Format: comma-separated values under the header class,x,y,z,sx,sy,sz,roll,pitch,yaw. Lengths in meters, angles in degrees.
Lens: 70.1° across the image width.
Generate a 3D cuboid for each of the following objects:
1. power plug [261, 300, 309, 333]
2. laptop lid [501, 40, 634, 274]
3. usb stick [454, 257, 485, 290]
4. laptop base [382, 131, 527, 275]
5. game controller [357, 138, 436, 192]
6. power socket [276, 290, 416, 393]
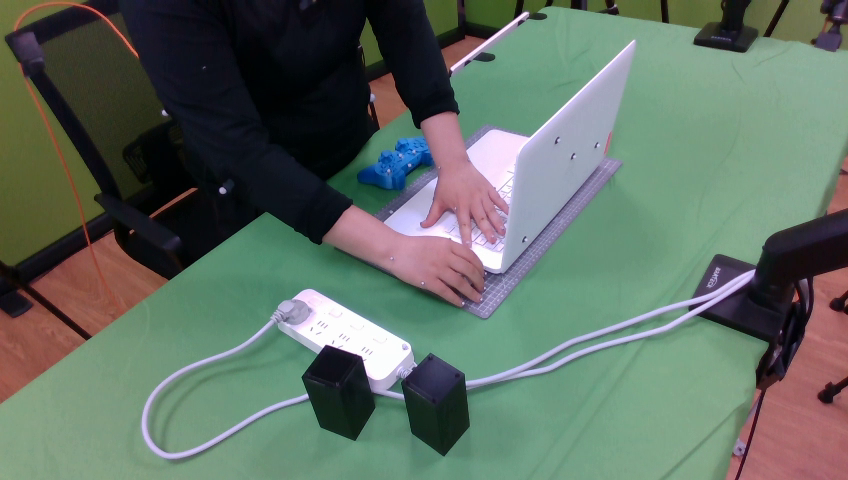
class,x,y,z,sx,sy,sz,roll,pitch,yaw
power plug,-0.192,0.110,0.830,0.073,0.053,0.035,-34,48,-23
laptop lid,0.219,-0.127,0.905,0.013,0.242,0.358,28,49,25
usb stick,0.072,0.045,0.891,0.059,0.027,0.021,-37,44,-29
laptop base,0.124,-0.080,1.049,0.233,0.023,0.355,20,47,32
game controller,-0.047,-0.149,1.135,0.096,0.052,0.155,27,51,28
power socket,-0.113,0.133,0.820,0.225,0.033,0.072,24,47,32
